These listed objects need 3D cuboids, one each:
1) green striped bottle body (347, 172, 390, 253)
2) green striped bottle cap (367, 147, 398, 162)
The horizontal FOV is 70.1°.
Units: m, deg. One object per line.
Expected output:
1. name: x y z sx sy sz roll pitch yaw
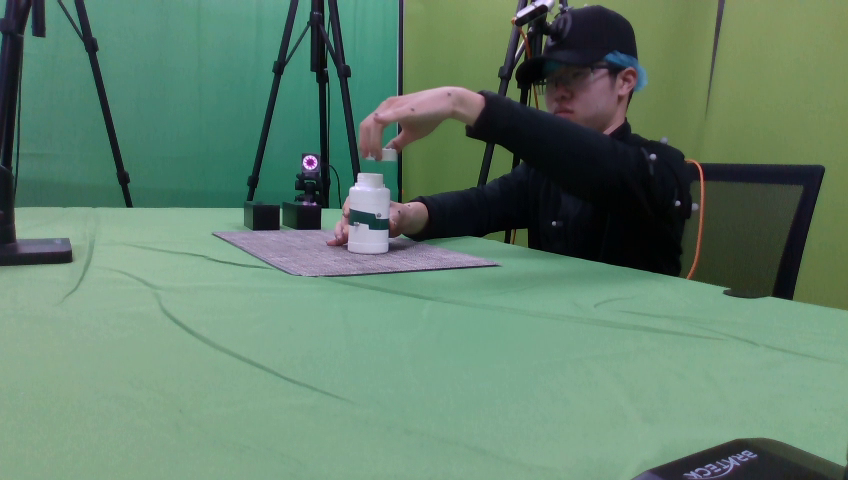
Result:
1. green striped bottle body: -0.083 -0.042 0.913 0.063 0.119 0.063 2 8 0
2. green striped bottle cap: -0.060 -0.123 0.874 0.044 0.020 0.044 -1 4 0
